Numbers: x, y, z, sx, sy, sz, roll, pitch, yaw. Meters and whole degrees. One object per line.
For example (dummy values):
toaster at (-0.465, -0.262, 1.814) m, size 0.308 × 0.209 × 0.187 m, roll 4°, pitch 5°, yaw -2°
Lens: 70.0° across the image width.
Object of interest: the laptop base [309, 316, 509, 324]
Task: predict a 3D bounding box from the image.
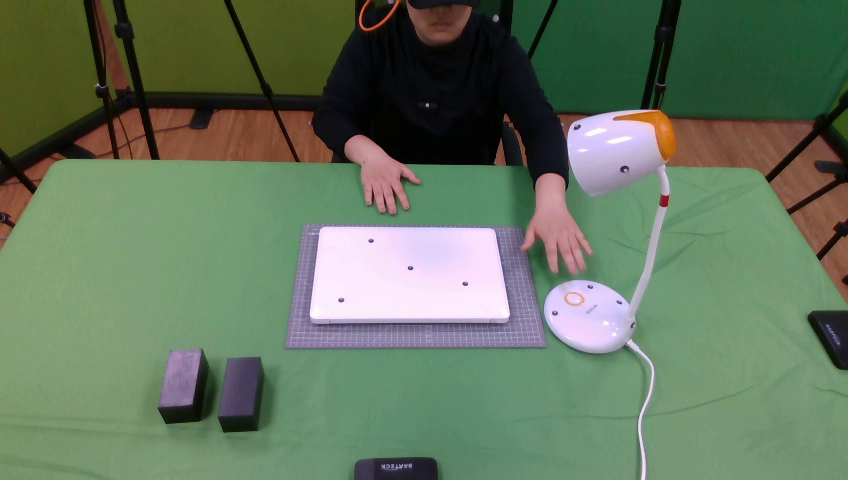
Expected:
laptop base at (-0.028, 0.064, 1.136) m, size 0.355 × 0.023 × 0.234 m, roll 0°, pitch 43°, yaw -4°

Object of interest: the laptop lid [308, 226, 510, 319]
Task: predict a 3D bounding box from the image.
laptop lid at (-0.028, 0.055, 1.129) m, size 0.357 × 0.013 × 0.240 m, roll 2°, pitch 44°, yaw -3°

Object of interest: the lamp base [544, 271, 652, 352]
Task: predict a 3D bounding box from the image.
lamp base at (0.310, 0.086, 1.029) m, size 0.178 × 0.181 × 0.160 m, roll 32°, pitch 52°, yaw 21°

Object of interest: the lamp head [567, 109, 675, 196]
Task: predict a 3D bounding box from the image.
lamp head at (0.272, -0.123, 0.818) m, size 0.122 × 0.113 × 0.112 m, roll -9°, pitch 35°, yaw 37°
